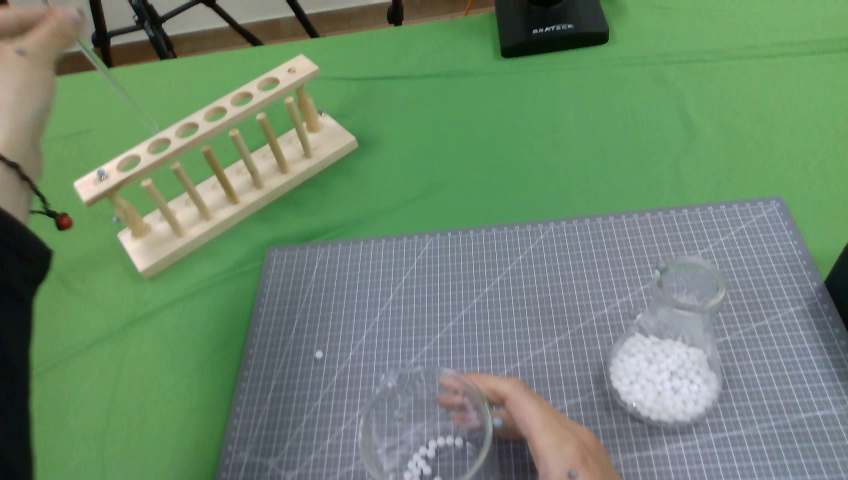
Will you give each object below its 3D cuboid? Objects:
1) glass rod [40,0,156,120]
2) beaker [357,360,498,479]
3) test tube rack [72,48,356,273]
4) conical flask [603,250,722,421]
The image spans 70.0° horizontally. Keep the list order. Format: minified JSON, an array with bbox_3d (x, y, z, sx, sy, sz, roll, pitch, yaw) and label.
[{"bbox_3d":[-0.247,-0.149,0.428,0.008,0.201,0.008,-4,63,9],"label":"glass rod"},{"bbox_3d":[0.006,0.127,0.368,0.074,0.101,0.083,-30,52,-13],"label":"beaker"},{"bbox_3d":[-0.191,-0.080,0.583,0.242,0.086,0.066,-36,54,-17],"label":"test tube rack"},{"bbox_3d":[0.154,0.057,0.378,0.075,0.123,0.074,-6,51,7],"label":"conical flask"}]
